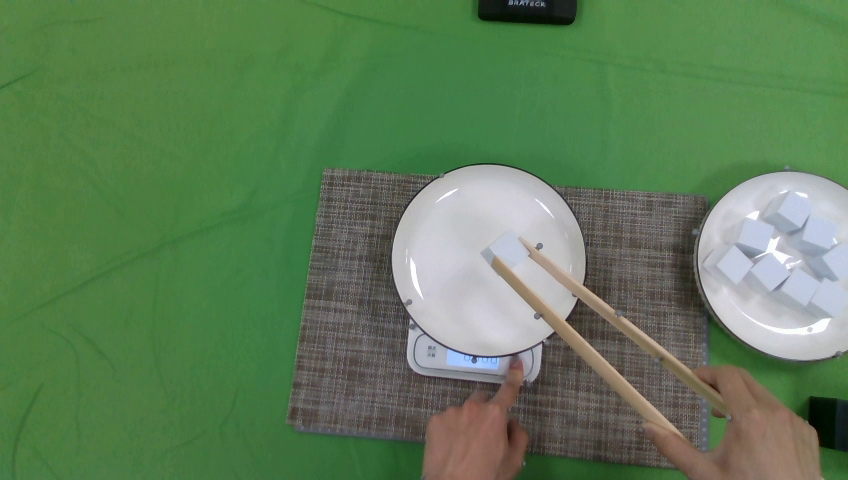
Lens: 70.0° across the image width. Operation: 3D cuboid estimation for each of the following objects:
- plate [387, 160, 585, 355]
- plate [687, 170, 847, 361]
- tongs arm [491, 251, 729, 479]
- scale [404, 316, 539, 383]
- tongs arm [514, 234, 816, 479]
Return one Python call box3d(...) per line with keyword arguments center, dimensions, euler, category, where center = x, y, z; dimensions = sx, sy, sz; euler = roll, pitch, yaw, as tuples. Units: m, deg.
box3d(center=(0.065, 0.018, 0.651), dimensions=(0.209, 0.038, 0.208), euler=(-1, 80, 3), category="plate")
box3d(center=(0.391, 0.028, 0.663), dimensions=(0.207, 0.039, 0.206), euler=(-1, 79, 3), category="plate")
box3d(center=(0.195, 0.141, 0.513), dimensions=(0.028, 0.028, 0.384), euler=(-35, 66, -24), category="tongs arm")
box3d(center=(0.059, 0.053, 0.679), dimensions=(0.148, 0.032, 0.200), euler=(6, 80, 5), category="scale")
box3d(center=(0.212, 0.128, 0.520), dimensions=(0.382, 0.027, 0.050), euler=(40, 66, 20), category="tongs arm")
